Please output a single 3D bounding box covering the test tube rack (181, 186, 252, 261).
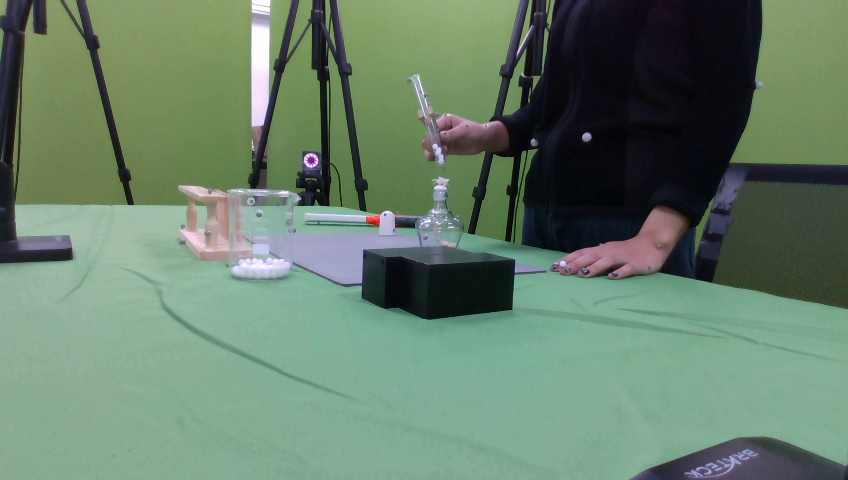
[{"bbox_3d":[-0.312,-0.031,0.893,0.067,0.085,0.241,-1,8,-27],"label":"test tube rack"}]

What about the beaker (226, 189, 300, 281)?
[{"bbox_3d":[-0.184,-0.007,0.694,0.084,0.100,0.073,-1,8,-29],"label":"beaker"}]

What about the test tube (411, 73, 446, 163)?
[{"bbox_3d":[0.007,-0.190,0.939,0.017,0.150,0.017,-17,-9,-2],"label":"test tube"}]

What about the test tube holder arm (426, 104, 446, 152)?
[{"bbox_3d":[0.022,-0.182,1.005,0.013,0.015,0.179,-17,-14,6],"label":"test tube holder arm"}]

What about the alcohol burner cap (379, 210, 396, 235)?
[{"bbox_3d":[-0.067,-0.033,1.129,0.034,0.048,0.034,1,7,0],"label":"alcohol burner cap"}]

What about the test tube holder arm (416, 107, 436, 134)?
[{"bbox_3d":[0.007,-0.189,0.963,0.010,0.015,0.088,-19,-14,14],"label":"test tube holder arm"}]

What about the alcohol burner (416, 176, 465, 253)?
[{"bbox_3d":[0.025,-0.040,0.935,0.078,0.119,0.078,1,6,0],"label":"alcohol burner"}]

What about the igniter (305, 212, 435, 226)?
[{"bbox_3d":[-0.114,-0.046,1.296,0.277,0.025,0.057,1,-2,-11],"label":"igniter"}]
